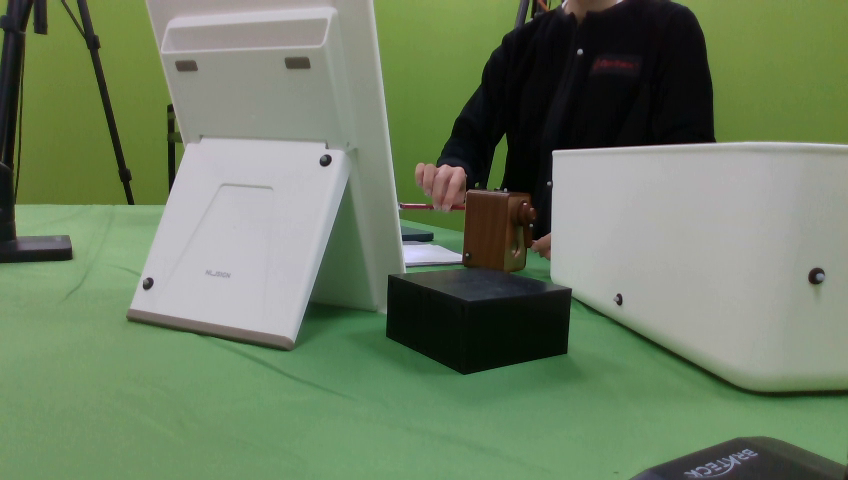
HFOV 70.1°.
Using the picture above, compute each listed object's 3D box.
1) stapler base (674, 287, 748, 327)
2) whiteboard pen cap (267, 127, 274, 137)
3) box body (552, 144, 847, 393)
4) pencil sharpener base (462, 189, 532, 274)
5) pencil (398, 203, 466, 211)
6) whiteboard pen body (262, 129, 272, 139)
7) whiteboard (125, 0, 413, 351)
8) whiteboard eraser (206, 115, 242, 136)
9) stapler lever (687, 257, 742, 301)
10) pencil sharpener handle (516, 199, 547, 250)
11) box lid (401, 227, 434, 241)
[{"bbox_3d":[0.281,0.061,0.586,0.041,0.024,0.131,11,9,37],"label":"stapler base"},{"bbox_3d":[-0.340,-0.239,1.337,0.018,0.018,0.033,1,-1,-15],"label":"whiteboard pen cap"},{"bbox_3d":[0.290,0.002,0.549,0.255,0.160,0.363,2,7,-10],"label":"box body"},{"bbox_3d":[0.101,-0.013,0.816,0.076,0.107,0.062,9,9,40],"label":"pencil sharpener base"},{"bbox_3d":[0.018,-0.048,0.881,0.193,0.012,0.012,4,6,40],"label":"pencil"},{"bbox_3d":[-0.361,-0.245,1.393,0.017,0.017,0.140,0,5,-20],"label":"whiteboard pen body"},{"bbox_3d":[-0.151,-0.050,0.471,0.216,0.305,0.144,6,27,24],"label":"whiteboard"},{"bbox_3d":[-0.438,-0.249,1.320,0.056,0.042,0.112,-3,9,-30],"label":"whiteboard eraser"},{"bbox_3d":[0.283,0.035,0.585,0.026,0.040,0.119,11,8,37],"label":"stapler lever"},{"bbox_3d":[0.143,-0.019,0.786,0.030,0.068,0.036,9,26,40],"label":"pencil sharpener handle"},{"bbox_3d":[-0.196,-0.015,1.105,0.373,0.015,0.262,-1,7,-32],"label":"box lid"}]
